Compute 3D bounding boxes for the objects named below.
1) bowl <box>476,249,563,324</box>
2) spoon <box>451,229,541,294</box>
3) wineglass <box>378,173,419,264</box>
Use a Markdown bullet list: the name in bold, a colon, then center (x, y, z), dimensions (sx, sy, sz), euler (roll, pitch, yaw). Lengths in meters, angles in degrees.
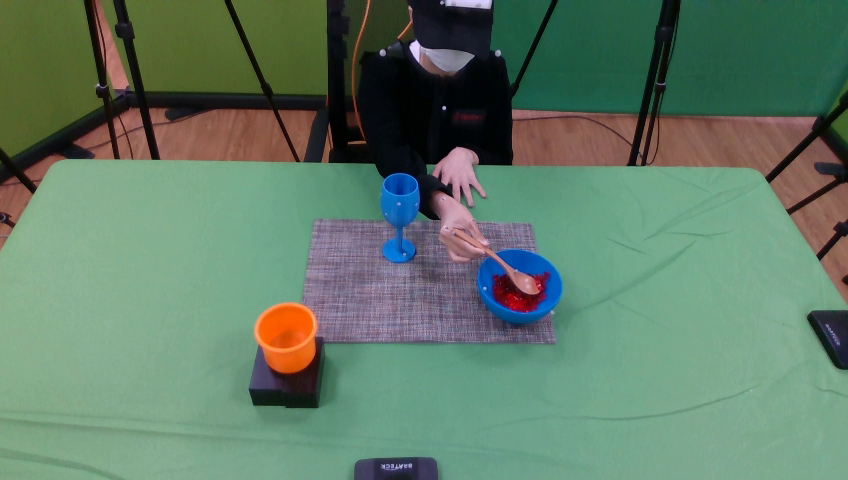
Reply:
- **bowl**: center (0.164, 0.096, 1.073), dimensions (0.151, 0.077, 0.150), euler (2, 46, -2)
- **spoon**: center (0.127, 0.036, 1.064), dimensions (0.194, 0.021, 0.041), euler (37, 45, -11)
- **wineglass**: center (-0.047, -0.037, 1.121), dimensions (0.074, 0.173, 0.073), euler (2, 46, -2)
